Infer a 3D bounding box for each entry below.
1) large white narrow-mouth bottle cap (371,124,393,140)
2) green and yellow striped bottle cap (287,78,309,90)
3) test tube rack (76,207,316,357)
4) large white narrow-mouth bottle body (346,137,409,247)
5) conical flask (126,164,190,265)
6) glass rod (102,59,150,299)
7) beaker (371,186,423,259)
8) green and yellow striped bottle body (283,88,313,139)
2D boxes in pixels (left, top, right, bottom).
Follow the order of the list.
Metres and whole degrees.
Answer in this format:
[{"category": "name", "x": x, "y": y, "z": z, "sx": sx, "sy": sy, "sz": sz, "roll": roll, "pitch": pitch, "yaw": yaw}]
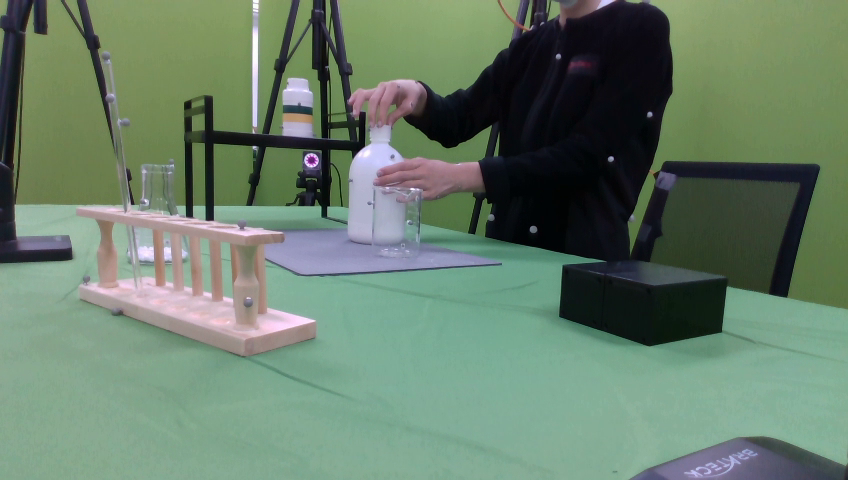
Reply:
[{"category": "large white narrow-mouth bottle cap", "x": -0.069, "y": -0.178, "z": 0.997, "sx": 0.038, "sy": 0.024, "sz": 0.037, "roll": 4, "pitch": 8, "yaw": 0}, {"category": "green and yellow striped bottle cap", "x": -0.265, "y": -0.326, "z": 1.268, "sx": 0.045, "sy": 0.020, "sz": 0.045, "roll": 4, "pitch": 6, "yaw": 0}, {"category": "test tube rack", "x": -0.196, "y": 0.023, "z": 0.500, "sx": 0.241, "sy": 0.085, "sz": 0.067, "roll": 8, "pitch": 9, "yaw": 36}, {"category": "large white narrow-mouth bottle body", "x": -0.076, "y": -0.091, "z": 1.010, "sx": 0.102, "sy": 0.194, "sz": 0.102, "roll": 4, "pitch": 8, "yaw": 0}, {"category": "conical flask", "x": -0.332, "y": -0.033, "z": 0.756, "sx": 0.075, "sy": 0.122, "sz": 0.075, "roll": 2, "pitch": 7, "yaw": 0}, {"category": "glass rod", "x": -0.243, "y": -0.045, "z": 0.496, "sx": 0.008, "sy": 0.199, "sz": 0.008, "roll": -4, "pitch": 13, "yaw": 1}, {"category": "beaker", "x": -0.038, "y": -0.025, "z": 0.868, "sx": 0.074, "sy": 0.100, "sz": 0.083, "roll": -1, "pitch": 8, "yaw": -22}, {"category": "green and yellow striped bottle body", "x": -0.266, "y": -0.275, "z": 1.275, "sx": 0.063, "sy": 0.119, "sz": 0.063, "roll": 3, "pitch": 7, "yaw": 0}]
